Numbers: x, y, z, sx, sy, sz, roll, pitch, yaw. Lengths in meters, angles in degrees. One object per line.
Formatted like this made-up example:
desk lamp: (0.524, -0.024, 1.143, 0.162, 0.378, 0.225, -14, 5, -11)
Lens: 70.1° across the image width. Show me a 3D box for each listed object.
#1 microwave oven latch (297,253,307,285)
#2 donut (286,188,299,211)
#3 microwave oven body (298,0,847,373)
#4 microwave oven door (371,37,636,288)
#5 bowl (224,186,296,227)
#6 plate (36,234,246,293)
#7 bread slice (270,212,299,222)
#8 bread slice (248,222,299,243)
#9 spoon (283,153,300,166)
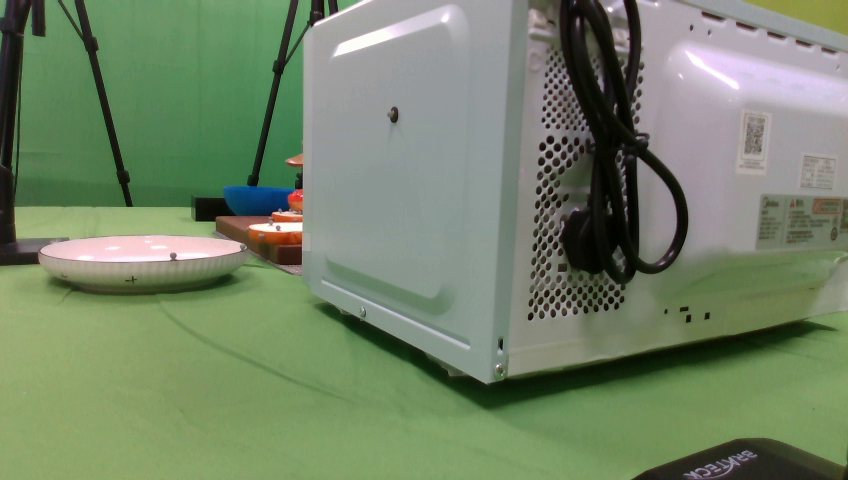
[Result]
microwave oven latch: (-0.082, 0.027, 0.582, 0.079, 0.029, 0.030, -1, 7, -32)
donut: (-0.190, -0.068, 1.055, 0.099, 0.048, 0.099, 3, 6, 0)
microwave oven body: (0.151, -0.055, 0.542, 0.444, 0.260, 0.324, -2, 7, -33)
microwave oven door: (0.109, -0.080, 0.686, 0.358, 0.243, 0.039, -2, 9, -33)
bowl: (-0.330, -0.068, 1.230, 0.151, 0.077, 0.151, 3, 7, 0)
plate: (-0.305, 0.026, 0.668, 0.208, 0.039, 0.207, 2, 7, 0)
bread slice: (-0.197, -0.038, 1.051, 0.132, 0.019, 0.104, 0, 6, -31)
bread slice: (-0.174, -0.012, 0.844, 0.135, 0.018, 0.106, -6, 10, -44)
spoon: (-0.194, -0.186, 1.144, 0.041, 0.022, 0.194, 14, 43, 32)
